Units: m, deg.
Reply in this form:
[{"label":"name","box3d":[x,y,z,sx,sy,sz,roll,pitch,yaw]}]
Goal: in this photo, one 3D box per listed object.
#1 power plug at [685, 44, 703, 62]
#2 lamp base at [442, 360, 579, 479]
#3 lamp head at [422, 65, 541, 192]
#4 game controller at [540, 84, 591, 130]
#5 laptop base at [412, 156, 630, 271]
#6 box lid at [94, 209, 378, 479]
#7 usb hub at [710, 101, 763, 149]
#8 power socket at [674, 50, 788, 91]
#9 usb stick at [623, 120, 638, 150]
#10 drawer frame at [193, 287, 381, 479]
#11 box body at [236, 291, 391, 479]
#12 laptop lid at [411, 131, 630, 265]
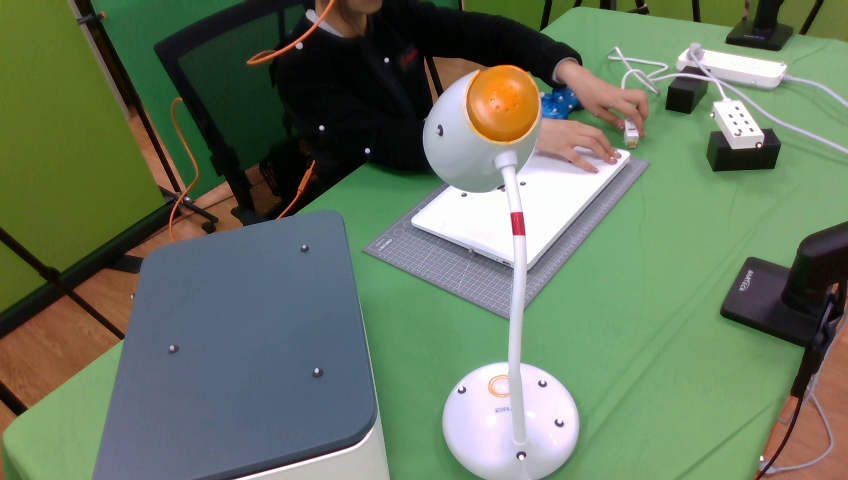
[{"label":"power plug","box3d":[0.568,-0.390,1.294,0.073,0.053,0.035,-33,46,-22]},{"label":"lamp base","box3d":[0.094,0.158,0.657,0.161,0.181,0.178,-13,42,-5]},{"label":"lamp head","box3d":[0.060,-0.106,0.560,0.113,0.112,0.122,-17,1,-8]},{"label":"game controller","box3d":[0.277,-0.282,1.251,0.096,0.052,0.155,27,52,30]},{"label":"laptop base","box3d":[0.175,-0.084,1.056,0.233,0.023,0.355,21,48,35]},{"label":"box lid","box3d":[-0.202,0.094,0.680,0.264,0.015,0.368,-13,39,-5]},{"label":"usb hub","box3d":[0.535,-0.200,1.041,0.049,0.025,0.124,-4,39,8]},{"label":"power socket","box3d":[0.646,-0.363,1.284,0.225,0.033,0.072,25,52,34]},{"label":"usb stick","box3d":[0.389,-0.196,1.138,0.021,0.027,0.059,2,59,6]},{"label":"drawer frame","box3d":[-0.172,0.176,0.755,0.202,0.083,0.212,-14,42,-7]},{"label":"box body","box3d":[-0.190,0.161,0.723,0.255,0.161,0.361,-13,40,-5]},{"label":"laptop lid","box3d":[0.172,-0.094,1.050,0.239,0.013,0.358,23,49,36]}]
